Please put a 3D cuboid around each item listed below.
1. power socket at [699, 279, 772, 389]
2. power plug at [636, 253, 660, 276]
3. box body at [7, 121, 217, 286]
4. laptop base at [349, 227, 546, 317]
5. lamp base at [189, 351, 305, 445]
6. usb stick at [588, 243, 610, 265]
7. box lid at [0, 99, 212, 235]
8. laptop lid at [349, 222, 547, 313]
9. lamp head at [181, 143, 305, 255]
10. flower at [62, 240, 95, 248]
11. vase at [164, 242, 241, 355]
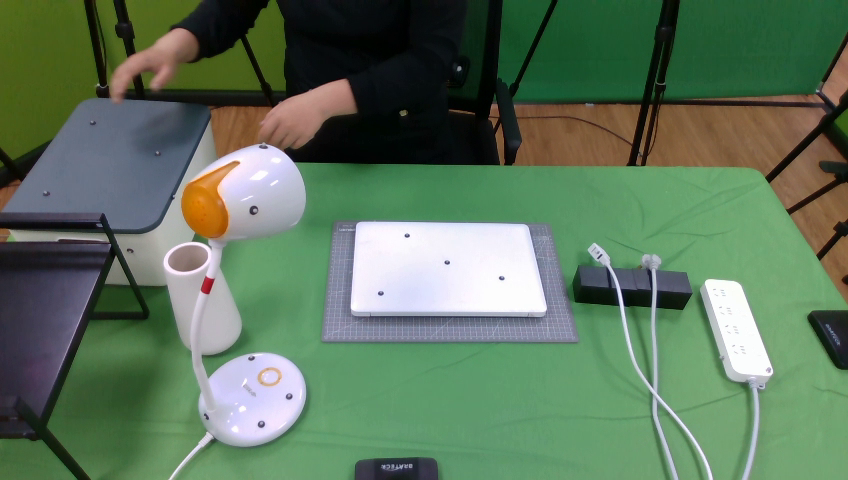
[{"bbox_3d":[0.551,0.157,1.081,0.072,0.033,0.225,5,46,1],"label":"power socket"},{"bbox_3d":[0.415,0.050,1.139,0.035,0.053,0.072,46,49,10],"label":"power plug"},{"bbox_3d":[-0.560,-0.092,1.145,0.254,0.161,0.361,3,46,-2],"label":"box body"},{"bbox_3d":[0.040,0.055,1.149,0.355,0.023,0.234,1,42,-4],"label":"laptop base"},{"bbox_3d":[-0.268,0.196,0.876,0.160,0.181,0.179,26,52,20],"label":"lamp base"},{"bbox_3d":[0.336,0.024,1.172,0.027,0.021,0.059,33,17,-12],"label":"usb stick"},{"bbox_3d":[-0.556,-0.143,1.090,0.263,0.015,0.369,2,46,-1],"label":"box lid"},{"bbox_3d":[0.041,0.045,1.143,0.357,0.013,0.240,2,44,-3],"label":"laptop lid"},{"bbox_3d":[-0.216,-0.044,0.697,0.112,0.113,0.123,23,31,17],"label":"lamp head"},{"bbox_3d":[-0.557,-0.053,1.195,0.044,0.038,0.361,47,54,1],"label":"flower"},{"bbox_3d":[-0.349,0.096,0.954,0.098,0.201,0.097,3,47,-3],"label":"vase"}]
